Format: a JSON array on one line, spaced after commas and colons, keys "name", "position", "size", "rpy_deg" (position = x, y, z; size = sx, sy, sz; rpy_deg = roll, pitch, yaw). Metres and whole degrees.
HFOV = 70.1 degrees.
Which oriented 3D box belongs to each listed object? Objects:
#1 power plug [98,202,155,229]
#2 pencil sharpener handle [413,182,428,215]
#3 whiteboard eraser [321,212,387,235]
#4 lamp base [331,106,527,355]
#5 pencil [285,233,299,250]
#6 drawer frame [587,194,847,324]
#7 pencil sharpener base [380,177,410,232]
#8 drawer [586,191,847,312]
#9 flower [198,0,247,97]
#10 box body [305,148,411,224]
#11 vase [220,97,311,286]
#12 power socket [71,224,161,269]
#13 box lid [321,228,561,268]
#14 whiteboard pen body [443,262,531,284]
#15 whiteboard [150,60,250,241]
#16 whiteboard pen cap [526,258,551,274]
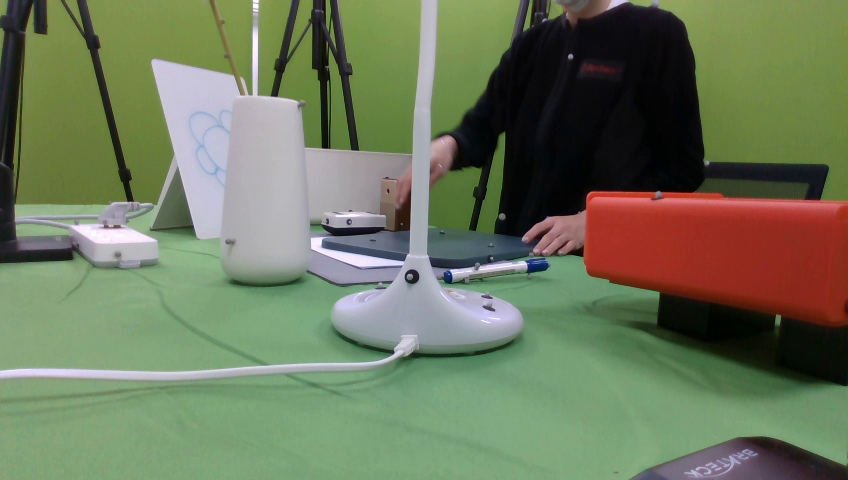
[{"name": "power plug", "position": [-0.416, -0.027, 0.848], "size": [0.073, 0.052, 0.035], "rpy_deg": [0, 8, -28]}, {"name": "pencil sharpener handle", "position": [-0.003, -0.086, 1.254], "size": [0.031, 0.067, 0.036], "rpy_deg": [-2, 19, -37]}, {"name": "whiteboard eraser", "position": [-0.128, -0.031, 1.108], "size": [0.113, 0.042, 0.055], "rpy_deg": [-3, 7, -38]}, {"name": "lamp base", "position": [0.006, -0.012, 0.478], "size": [0.161, 0.180, 0.179], "rpy_deg": [2, 10, 2]}, {"name": "pencil", "position": [-0.209, 0.000, 0.969], "size": [0.012, 0.012, 0.193], "rpy_deg": [1, 6, -8]}, {"name": "drawer frame", "position": [0.286, 0.004, 0.508], "size": [0.203, 0.082, 0.212], "rpy_deg": [-1, 6, -30]}, {"name": "pencil sharpener base", "position": [-0.042, -0.071, 1.222], "size": [0.077, 0.107, 0.061], "rpy_deg": [-2, 8, -37]}, {"name": "drawer", "position": [0.281, 0.001, 0.513], "size": [0.195, 0.073, 0.210], "rpy_deg": [-1, 8, -29]}, {"name": "flower", "position": [-0.187, -0.133, 0.648], "size": [0.038, 0.362, 0.044], "rpy_deg": [0, 22, 43]}, {"name": "box body", "position": [-0.230, -0.126, 1.371], "size": [0.366, 0.160, 0.253], "rpy_deg": [-2, 8, -33]}, {"name": "vase", "position": [-0.172, -0.052, 0.662], "size": [0.098, 0.200, 0.098], "rpy_deg": [3, 9, 0]}, {"name": "power socket", "position": [-0.408, 0.004, 0.793], "size": [0.072, 0.032, 0.225], "rpy_deg": [-2, 8, -38]}, {"name": "box lid", "position": [0.040, 0.008, 0.996], "size": [0.262, 0.015, 0.373], "rpy_deg": [7, 8, 34]}, {"name": "whiteboard pen body", "position": [0.087, 0.038, 0.734], "size": [0.141, 0.017, 0.017], "rpy_deg": [-5, 10, -27]}, {"name": "whiteboard", "position": [-0.408, -0.139, 1.093], "size": [0.143, 0.305, 0.218], "rpy_deg": [-15, -1, 26]}, {"name": "whiteboard pen cap", "position": [0.141, 0.033, 0.759], "size": [0.033, 0.018, 0.018], "rpy_deg": [-7, 11, -26]}]
